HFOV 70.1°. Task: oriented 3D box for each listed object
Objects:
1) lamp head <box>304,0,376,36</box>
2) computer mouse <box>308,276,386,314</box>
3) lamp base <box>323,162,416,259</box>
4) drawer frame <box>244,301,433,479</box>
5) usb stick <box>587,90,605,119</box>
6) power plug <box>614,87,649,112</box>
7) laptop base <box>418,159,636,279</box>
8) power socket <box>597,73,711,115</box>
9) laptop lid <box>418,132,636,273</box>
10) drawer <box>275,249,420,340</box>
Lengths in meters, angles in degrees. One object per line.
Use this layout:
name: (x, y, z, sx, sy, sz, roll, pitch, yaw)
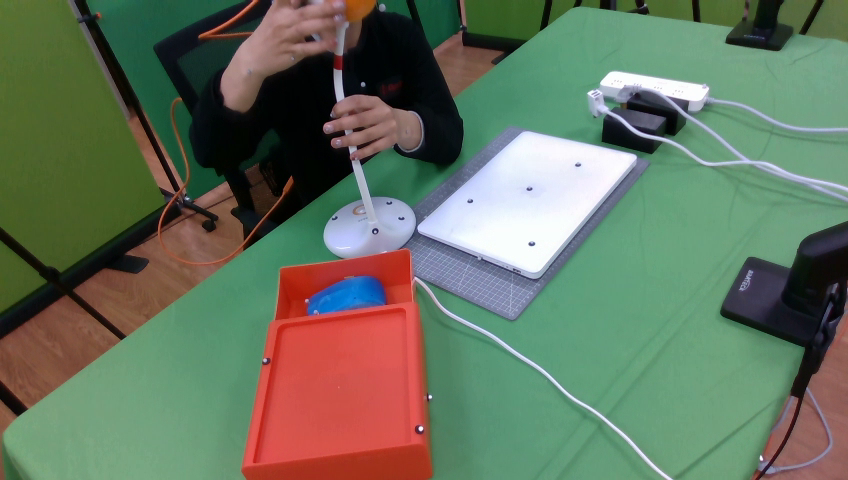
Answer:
lamp head: (-0.109, -0.326, 0.766, 0.113, 0.113, 0.122, -18, 57, -10)
computer mouse: (-0.113, 0.089, 0.883, 0.117, 0.041, 0.062, -15, 40, -2)
lamp base: (-0.098, -0.073, 0.968, 0.161, 0.181, 0.177, -24, 44, -14)
drawer frame: (-0.096, 0.185, 0.739, 0.202, 0.083, 0.212, -8, 40, 1)
usb stick: (0.334, -0.258, 1.170, 0.021, 0.059, 0.027, -29, 44, -6)
power plug: (0.406, -0.275, 1.192, 0.035, 0.053, 0.072, -15, 24, -15)
laptop base: (0.185, -0.074, 1.042, 0.233, 0.023, 0.355, 19, 47, 35)
power socket: (0.469, -0.304, 1.249, 0.225, 0.033, 0.072, 20, 49, 30)
laptop lid: (0.181, -0.084, 1.036, 0.239, 0.013, 0.358, 22, 49, 35)
drawer: (-0.104, 0.116, 0.826, 0.194, 0.073, 0.210, -8, 40, 0)
